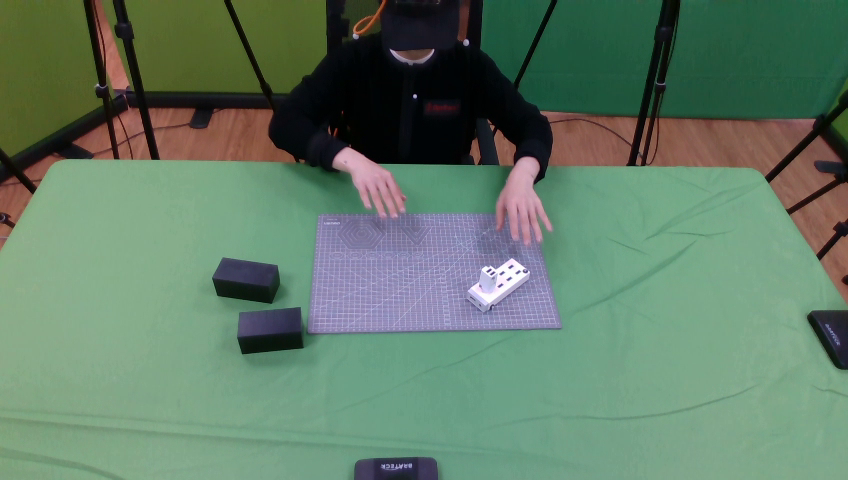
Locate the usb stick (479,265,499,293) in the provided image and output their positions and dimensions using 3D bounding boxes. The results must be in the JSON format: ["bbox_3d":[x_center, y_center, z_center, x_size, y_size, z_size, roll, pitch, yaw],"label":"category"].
[{"bbox_3d":[0.115,0.074,1.084,0.021,0.059,0.027,-34,60,-31],"label":"usb stick"}]

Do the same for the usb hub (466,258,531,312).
[{"bbox_3d":[0.139,0.083,1.120,0.125,0.025,0.049,-32,56,-30],"label":"usb hub"}]
